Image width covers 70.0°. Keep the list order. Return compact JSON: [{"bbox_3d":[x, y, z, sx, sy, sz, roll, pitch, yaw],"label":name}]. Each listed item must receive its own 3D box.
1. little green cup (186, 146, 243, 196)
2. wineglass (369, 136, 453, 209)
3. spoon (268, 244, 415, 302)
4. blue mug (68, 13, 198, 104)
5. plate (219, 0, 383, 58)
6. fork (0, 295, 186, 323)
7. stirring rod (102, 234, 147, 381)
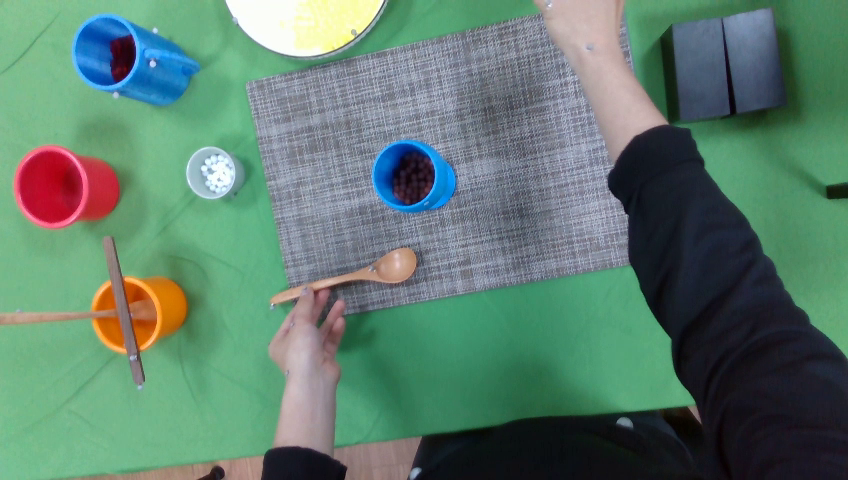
[{"bbox_3d":[-0.253,-0.083,0.740,0.061,0.038,0.061,1,95,8],"label":"little green cup"},{"bbox_3d":[-0.009,-0.068,0.638,0.073,0.172,0.074,1,94,8],"label":"wineglass"},{"bbox_3d":[-0.102,0.044,0.734,0.193,0.022,0.041,-14,72,7],"label":"spoon"},{"bbox_3d":[-0.325,-0.207,0.705,0.116,0.106,0.082,3,95,7],"label":"blue mug"},{"bbox_3d":[-0.140,-0.316,0.706,0.209,0.038,0.209,1,95,7],"label":"plate"},{"bbox_3d":[-0.392,0.084,0.716,0.208,0.018,0.028,-1,103,-36],"label":"fork"},{"bbox_3d":[-0.350,0.079,0.708,0.014,0.006,0.176,-11,93,9],"label":"stirring rod"}]
